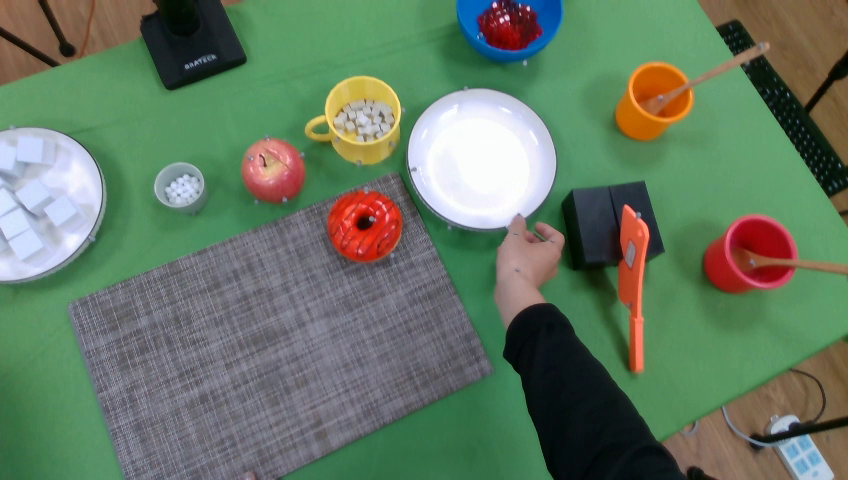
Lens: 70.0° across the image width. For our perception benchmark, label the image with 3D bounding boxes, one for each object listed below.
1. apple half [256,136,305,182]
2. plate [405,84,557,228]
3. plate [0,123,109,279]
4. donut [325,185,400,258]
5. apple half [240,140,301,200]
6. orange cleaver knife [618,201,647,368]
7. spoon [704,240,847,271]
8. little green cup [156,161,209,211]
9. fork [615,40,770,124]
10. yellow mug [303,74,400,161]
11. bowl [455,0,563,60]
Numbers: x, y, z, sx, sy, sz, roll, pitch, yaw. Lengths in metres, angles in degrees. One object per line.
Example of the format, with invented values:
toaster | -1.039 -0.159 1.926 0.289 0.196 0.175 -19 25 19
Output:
apple half | -0.181 -0.111 0.795 0.081 0.081 0.033 37 79 7
plate | 0.077 -0.113 0.834 0.209 0.038 0.208 1 74 -4
plate | -0.505 -0.048 0.771 0.208 0.039 0.206 1 74 -4
donut | -0.080 -0.024 0.789 0.099 0.048 0.098 1 75 -2
apple half | -0.205 -0.082 0.786 0.080 0.075 0.053 39 79 3
orange cleaver knife | 0.263 0.058 0.774 0.012 0.076 0.212 -5 107 -4
spoon | 0.459 0.025 0.768 0.192 0.022 0.041 6 62 44
little green cup | -0.313 -0.068 0.791 0.061 0.039 0.061 1 74 -3
fork | 0.361 -0.214 0.825 0.207 0.019 0.028 -27 70 34
yellow mug | -0.098 -0.161 0.819 0.131 0.064 0.099 -13 75 -7
bowl | 0.115 -0.316 0.873 0.151 0.077 0.150 1 75 -4
